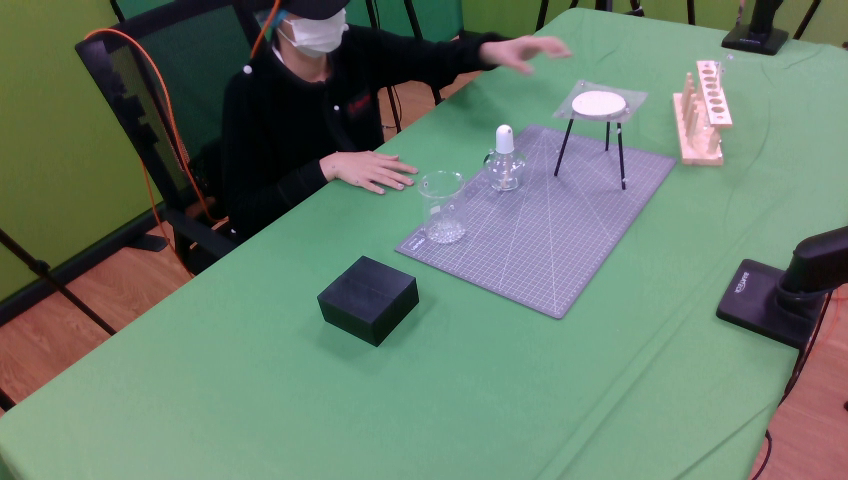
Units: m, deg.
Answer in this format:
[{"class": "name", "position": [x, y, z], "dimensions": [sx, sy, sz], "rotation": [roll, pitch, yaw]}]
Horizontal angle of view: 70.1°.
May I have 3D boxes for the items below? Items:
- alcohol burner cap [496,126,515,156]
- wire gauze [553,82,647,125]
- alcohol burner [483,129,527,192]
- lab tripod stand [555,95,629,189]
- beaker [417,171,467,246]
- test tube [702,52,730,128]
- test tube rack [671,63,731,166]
[{"class": "alcohol burner cap", "position": [0.138, -0.172, 1.028], "dimensions": [0.034, 0.048, 0.033], "rotation": [-5, 38, 4]}, {"class": "wire gauze", "position": [0.293, -0.225, 1.002], "dimensions": [0.120, 0.011, 0.125], "rotation": [17, 45, 27]}, {"class": "alcohol burner", "position": [0.141, -0.144, 1.050], "dimensions": [0.078, 0.119, 0.077], "rotation": [-4, 42, 4]}, {"class": "lab tripod stand", "position": [0.300, -0.174, 1.045], "dimensions": [0.148, 0.132, 0.147], "rotation": [-5, 38, 5]}, {"class": "beaker", "position": [0.034, -0.049, 0.965], "dimensions": [0.084, 0.101, 0.073], "rotation": [-32, 46, -27]}, {"class": "test tube", "position": [0.521, -0.265, 1.082], "dimensions": [0.017, 0.151, 0.017], "rotation": [-4, 45, 4]}, {"class": "test tube rack", "position": [0.513, -0.240, 1.132], "dimensions": [0.066, 0.085, 0.242], "rotation": [4, 41, 14]}]
